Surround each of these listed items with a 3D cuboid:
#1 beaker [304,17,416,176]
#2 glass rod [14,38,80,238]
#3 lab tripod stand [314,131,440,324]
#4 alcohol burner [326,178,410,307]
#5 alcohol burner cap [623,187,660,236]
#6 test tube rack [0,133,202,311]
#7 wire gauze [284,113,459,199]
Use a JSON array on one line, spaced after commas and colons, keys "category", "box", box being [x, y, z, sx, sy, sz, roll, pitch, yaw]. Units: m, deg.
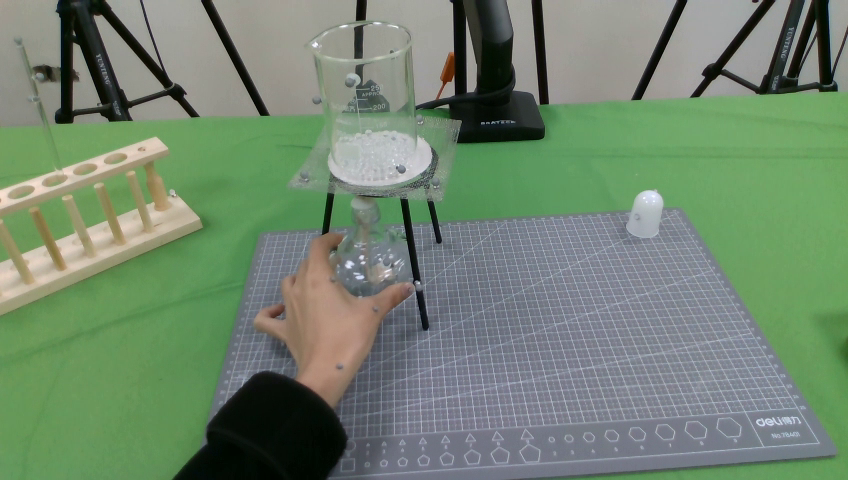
[{"category": "beaker", "box": [-0.046, -0.107, 0.461, 0.084, 0.101, 0.073, 8, 41, 13]}, {"category": "glass rod", "box": [-0.352, -0.088, 0.572, 0.008, 0.201, 0.008, 2, 32, -1]}, {"category": "lab tripod stand", "box": [-0.035, -0.016, 0.531, 0.148, 0.133, 0.147, -2, 41, 2]}, {"category": "alcohol burner", "box": [-0.050, -0.001, 0.529, 0.078, 0.120, 0.077, -3, 37, 2]}, {"category": "alcohol burner cap", "box": [0.221, -0.031, 0.612, 0.034, 0.048, 0.033, -1, 39, 1]}, {"category": "test tube rack", "box": [-0.354, -0.014, 0.586, 0.242, 0.086, 0.066, -29, 46, -29]}, {"category": "wire gauze", "box": [-0.038, -0.073, 0.497, 0.125, 0.011, 0.120, 3, 38, 11]}]
